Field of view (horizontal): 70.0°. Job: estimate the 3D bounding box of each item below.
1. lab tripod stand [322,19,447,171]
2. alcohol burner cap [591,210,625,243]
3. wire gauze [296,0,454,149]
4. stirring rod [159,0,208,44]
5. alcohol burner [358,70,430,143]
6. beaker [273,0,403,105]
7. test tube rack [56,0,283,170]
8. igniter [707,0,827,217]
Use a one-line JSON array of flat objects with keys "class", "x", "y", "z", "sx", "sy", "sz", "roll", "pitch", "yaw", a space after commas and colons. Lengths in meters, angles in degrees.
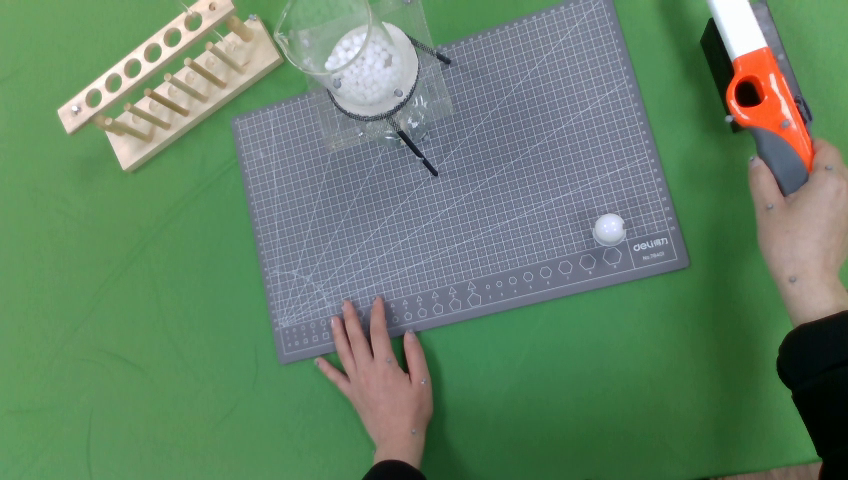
[{"class": "lab tripod stand", "x": -0.031, "y": -0.147, "z": 0.606, "sx": 0.148, "sy": 0.132, "sz": 0.148, "roll": -1, "pitch": 86, "yaw": 13}, {"class": "alcohol burner cap", "x": 0.180, "y": -0.015, "z": 0.590, "sx": 0.034, "sy": 0.048, "sz": 0.034, "roll": -1, "pitch": 84, "yaw": 14}, {"class": "wire gauze", "x": -0.048, "y": -0.154, "z": 0.543, "sx": 0.125, "sy": 0.011, "sz": 0.121, "roll": -15, "pitch": 86, "yaw": 10}, {"class": "stirring rod", "x": -0.272, "y": -0.251, "z": 0.623, "sx": 0.006, "sy": 0.177, "sz": 0.014, "roll": -31, "pitch": 72, "yaw": 4}, {"class": "alcohol burner", "x": -0.036, "y": -0.141, "z": 0.617, "sx": 0.078, "sy": 0.119, "sz": 0.077, "roll": -1, "pitch": 84, "yaw": 13}, {"class": "beaker", "x": -0.065, "y": -0.157, "z": 0.498, "sx": 0.084, "sy": 0.100, "sz": 0.074, "roll": -2, "pitch": 86, "yaw": 15}, {"class": "test tube rack", "x": -0.294, "y": -0.182, "z": 0.704, "sx": 0.242, "sy": 0.085, "sz": 0.066, "roll": -32, "pitch": 78, "yaw": 10}, {"class": "igniter", "x": 0.284, "y": -0.153, "z": 0.526, "sx": 0.057, "sy": 0.025, "sz": 0.275, "roll": -18, "pitch": 78, "yaw": 16}]
